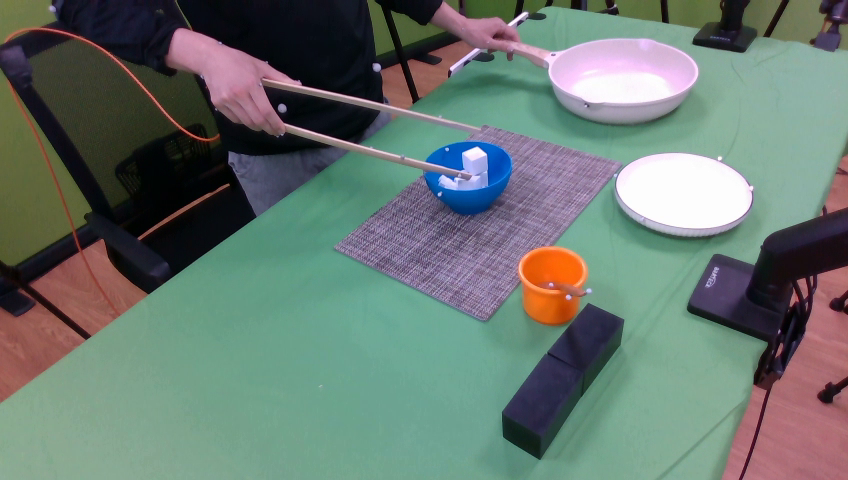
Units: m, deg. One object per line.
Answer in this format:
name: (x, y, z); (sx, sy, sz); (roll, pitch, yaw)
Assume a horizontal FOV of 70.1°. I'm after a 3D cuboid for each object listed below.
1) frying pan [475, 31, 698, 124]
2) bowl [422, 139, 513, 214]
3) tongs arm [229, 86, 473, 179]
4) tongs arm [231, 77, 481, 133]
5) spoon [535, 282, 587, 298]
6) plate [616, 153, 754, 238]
frying pan: (0.320, -0.371, 1.290); (0.485, 0.103, 0.307); (28, 50, 23)
bowl: (0.075, -0.097, 1.021); (0.151, 0.077, 0.150); (-4, 41, 4)
tongs arm: (-0.108, -0.162, 0.933); (0.386, 0.026, 0.050); (12, 79, -10)
tongs arm: (-0.099, -0.206, 0.943); (0.389, 0.027, 0.028); (9, 83, -11)
spoon: (0.176, 0.063, 0.774); (0.041, 0.194, 0.021); (-3, 85, 0)
plate: (0.416, -0.069, 0.977); (0.207, 0.039, 0.206); (-4, 40, 4)
